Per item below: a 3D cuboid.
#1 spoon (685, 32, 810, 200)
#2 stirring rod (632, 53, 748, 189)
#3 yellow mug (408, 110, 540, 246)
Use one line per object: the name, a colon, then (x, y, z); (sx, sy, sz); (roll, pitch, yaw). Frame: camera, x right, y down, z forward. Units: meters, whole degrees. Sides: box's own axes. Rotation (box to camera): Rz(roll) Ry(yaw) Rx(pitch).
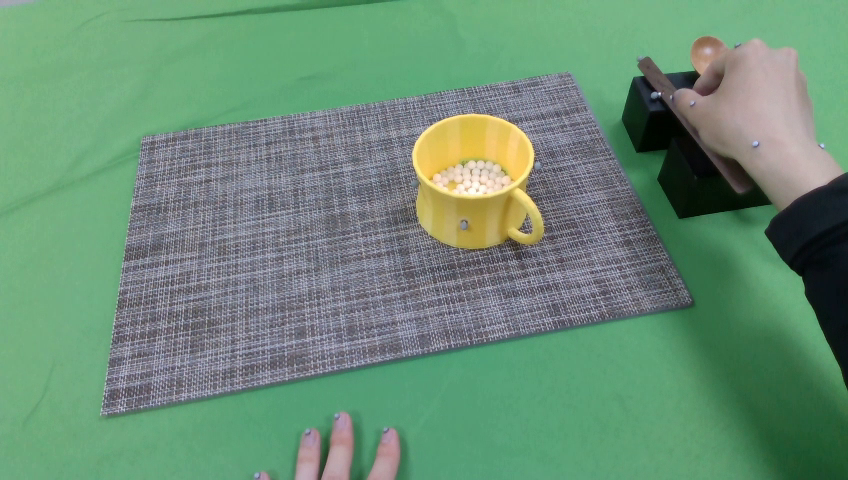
spoon: (0.277, -0.112, 0.521); (0.041, 0.022, 0.191); (-10, 55, -4)
stirring rod: (0.224, -0.108, 0.522); (0.014, 0.006, 0.174); (-39, 49, 25)
yellow mug: (0.048, -0.045, 0.509); (0.100, 0.064, 0.129); (-37, 60, -23)
